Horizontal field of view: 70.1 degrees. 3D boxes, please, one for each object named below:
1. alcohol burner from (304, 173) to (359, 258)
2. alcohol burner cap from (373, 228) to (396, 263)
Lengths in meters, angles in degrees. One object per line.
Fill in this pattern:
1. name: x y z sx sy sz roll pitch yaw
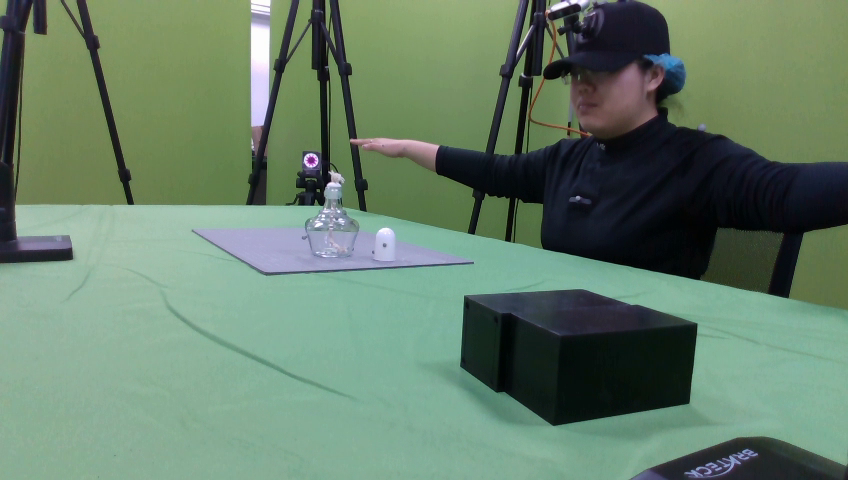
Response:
1. alcohol burner: -0.129 -0.035 0.852 0.078 0.119 0.078 2 5 0
2. alcohol burner cap: -0.054 0.007 0.836 0.034 0.048 0.034 3 7 0
